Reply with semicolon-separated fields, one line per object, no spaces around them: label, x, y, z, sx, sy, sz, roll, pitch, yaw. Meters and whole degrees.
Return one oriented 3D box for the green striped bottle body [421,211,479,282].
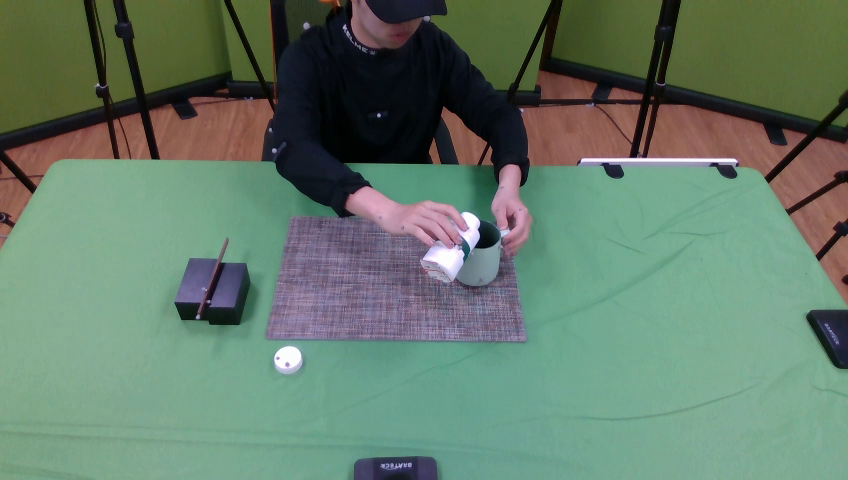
green striped bottle body;0.049;0.007;1.022;0.063;0.063;0.119;24;63;18

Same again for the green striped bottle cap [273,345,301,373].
green striped bottle cap;-0.225;0.195;0.997;0.044;0.020;0.044;2;50;-2

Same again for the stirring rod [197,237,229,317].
stirring rod;-0.363;0.060;1.047;0.006;0.014;0.175;7;46;-3

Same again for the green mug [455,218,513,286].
green mug;0.110;0.018;1.126;0.125;0.105;0.092;-19;50;-21
